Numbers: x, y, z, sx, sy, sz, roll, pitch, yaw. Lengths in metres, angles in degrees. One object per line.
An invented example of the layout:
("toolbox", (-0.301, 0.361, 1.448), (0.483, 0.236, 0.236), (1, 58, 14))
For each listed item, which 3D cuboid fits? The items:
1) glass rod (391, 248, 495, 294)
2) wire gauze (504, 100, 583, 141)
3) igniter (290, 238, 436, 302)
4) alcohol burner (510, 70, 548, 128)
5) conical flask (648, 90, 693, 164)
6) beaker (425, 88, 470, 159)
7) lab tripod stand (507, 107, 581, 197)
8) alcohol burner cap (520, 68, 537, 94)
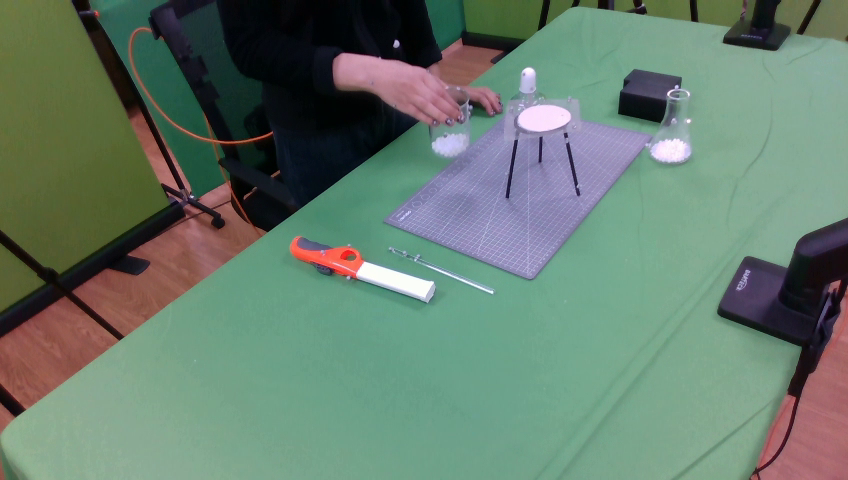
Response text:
("glass rod", (0.026, 0.046, 0.936), (0.198, 0.008, 0.008), (22, 50, 32))
("wire gauze", (0.194, -0.200, 0.987), (0.121, 0.011, 0.124), (-1, 39, 12))
("igniter", (-0.106, 0.043, 0.949), (0.274, 0.025, 0.057), (16, 56, 27))
("alcohol burner", (0.209, -0.287, 1.208), (0.078, 0.119, 0.077), (-5, 42, 5))
("conical flask", (0.437, -0.199, 1.057), (0.075, 0.122, 0.075), (-5, 40, 5))
("beaker", (0.041, -0.194, 1.030), (0.073, 0.101, 0.084), (11, 47, 18))
("lab tripod stand", (0.201, -0.151, 1.033), (0.148, 0.132, 0.147), (-7, 39, 6))
("alcohol burner cap", (0.205, -0.313, 1.183), (0.034, 0.048, 0.033), (-3, 50, 4))
